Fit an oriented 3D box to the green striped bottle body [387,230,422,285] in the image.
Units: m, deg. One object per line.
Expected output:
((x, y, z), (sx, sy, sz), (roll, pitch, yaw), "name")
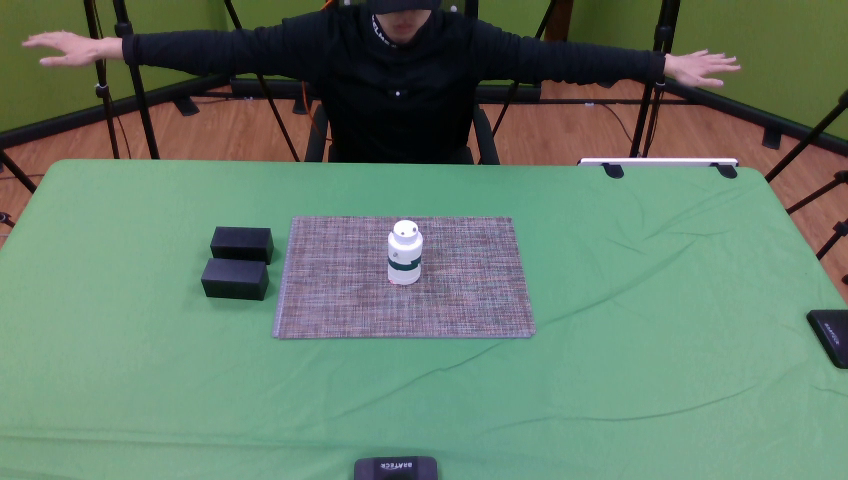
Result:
((-0.036, 0.021, 1.102), (0.063, 0.120, 0.063), (2, 46, -2), "green striped bottle body")

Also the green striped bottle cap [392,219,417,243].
((-0.034, -0.016, 1.065), (0.044, 0.020, 0.044), (4, 45, -4), "green striped bottle cap")
